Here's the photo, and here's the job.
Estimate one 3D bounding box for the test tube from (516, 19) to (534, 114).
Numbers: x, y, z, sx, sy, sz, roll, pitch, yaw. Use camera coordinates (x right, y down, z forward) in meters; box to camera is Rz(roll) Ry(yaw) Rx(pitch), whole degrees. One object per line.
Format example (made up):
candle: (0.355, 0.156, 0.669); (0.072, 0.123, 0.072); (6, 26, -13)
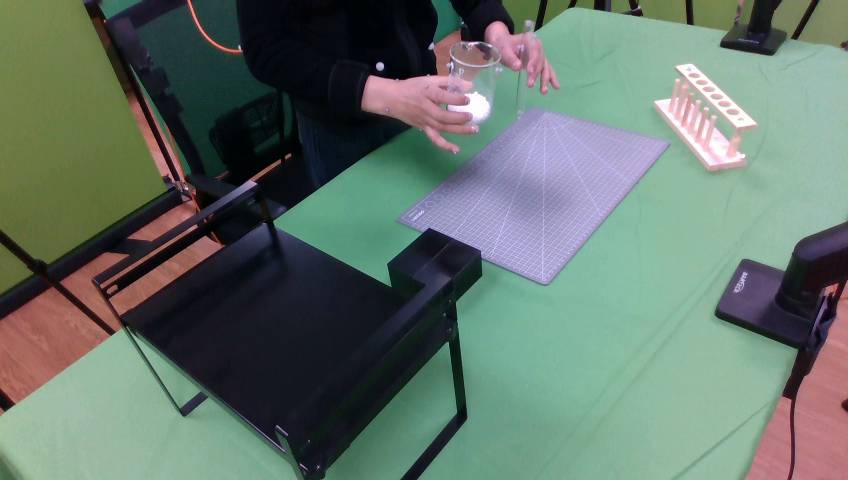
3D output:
test tube: (0.160, -0.274, 0.966); (0.017, 0.150, 0.017); (1, 32, 0)

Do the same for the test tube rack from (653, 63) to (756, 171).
test tube rack: (0.510, -0.233, 1.120); (0.067, 0.085, 0.241); (-9, 41, -1)

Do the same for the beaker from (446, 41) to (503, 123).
beaker: (0.070, -0.233, 0.895); (0.074, 0.100, 0.083); (-6, 46, -11)
